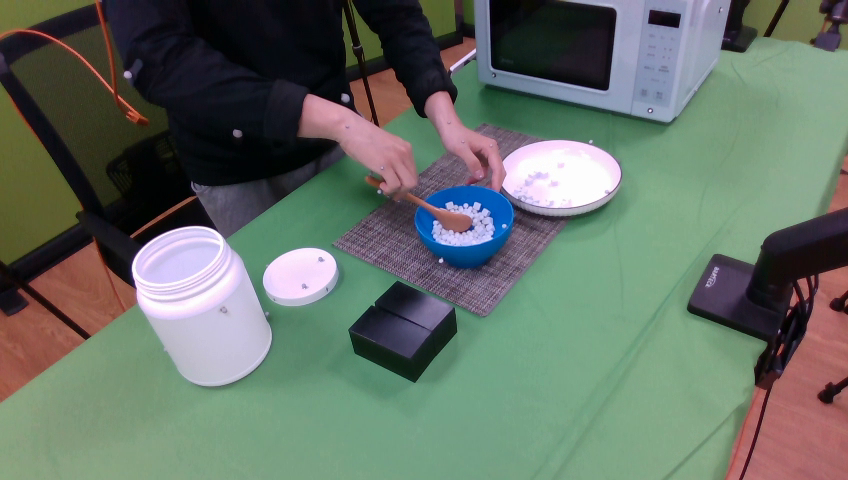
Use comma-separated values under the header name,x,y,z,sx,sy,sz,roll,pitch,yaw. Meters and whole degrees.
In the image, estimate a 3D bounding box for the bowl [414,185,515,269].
name,x,y,z,sx,sy,sz,roll,pitch,yaw
bowl,0.063,-0.010,0.922,0.151,0.077,0.150,-4,39,4

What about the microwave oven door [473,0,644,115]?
name,x,y,z,sx,sy,sz,roll,pitch,yaw
microwave oven door,0.257,-0.396,1.199,0.353,0.245,0.039,21,48,29

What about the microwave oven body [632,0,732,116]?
name,x,y,z,sx,sy,sz,roll,pitch,yaw
microwave oven body,0.377,-0.463,1.267,0.438,0.261,0.327,21,49,30

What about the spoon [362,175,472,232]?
name,x,y,z,sx,sy,sz,roll,pitch,yaw
spoon,-0.008,-0.055,0.901,0.195,0.041,0.021,25,35,-24

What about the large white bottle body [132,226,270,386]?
name,x,y,z,sx,sy,sz,roll,pitch,yaw
large white bottle body,-0.286,0.085,0.784,0.130,0.185,0.130,-4,41,4

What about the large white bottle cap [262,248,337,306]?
name,x,y,z,sx,sy,sz,roll,pitch,yaw
large white bottle cap,-0.193,0.056,0.934,0.115,0.018,0.114,-4,41,4

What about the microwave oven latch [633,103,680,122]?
name,x,y,z,sx,sy,sz,roll,pitch,yaw
microwave oven latch,0.443,-0.249,1.157,0.078,0.029,0.030,20,48,30

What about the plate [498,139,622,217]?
name,x,y,z,sx,sy,sz,roll,pitch,yaw
plate,0.231,-0.103,1.038,0.209,0.038,0.208,-4,41,4
